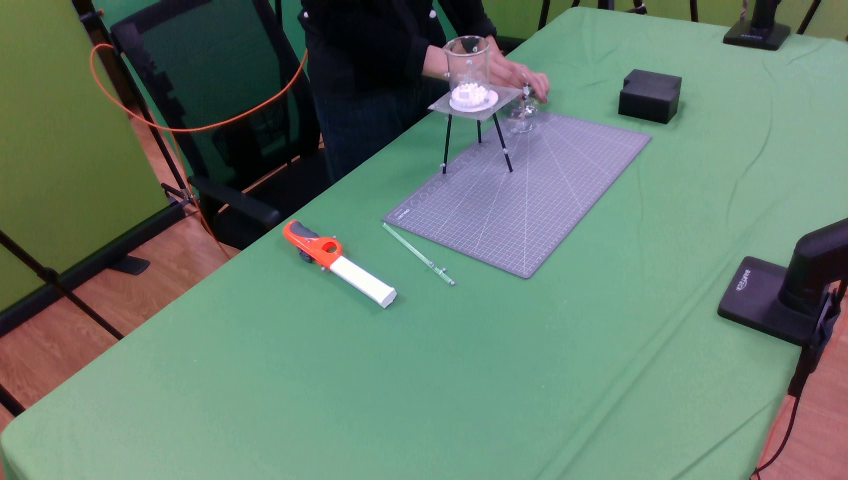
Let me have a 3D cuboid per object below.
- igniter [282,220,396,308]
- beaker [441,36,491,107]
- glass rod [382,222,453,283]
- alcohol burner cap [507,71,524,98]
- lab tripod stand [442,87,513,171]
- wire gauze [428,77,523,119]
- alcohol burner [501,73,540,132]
[{"bbox_3d":[-0.146,0.032,0.966,0.274,0.025,0.057,30,64,37],"label":"igniter"},{"bbox_3d":[0.074,-0.286,1.036,0.084,0.101,0.073,-1,41,8],"label":"beaker"},{"bbox_3d":[-0.014,0.016,0.976,0.008,0.008,0.198,-30,44,-22],"label":"glass rod"},{"bbox_3d":[0.177,-0.303,1.172,0.034,0.048,0.033,-4,38,3],"label":"alcohol burner cap"},{"bbox_3d":[0.097,-0.200,1.108,0.148,0.132,0.147,-4,40,4],"label":"lab tripod stand"},{"bbox_3d":[0.090,-0.249,1.063,0.120,0.011,0.125,24,48,30],"label":"wire gauze"},{"bbox_3d":[0.190,-0.275,1.194,0.078,0.119,0.077,-4,42,4],"label":"alcohol burner"}]
